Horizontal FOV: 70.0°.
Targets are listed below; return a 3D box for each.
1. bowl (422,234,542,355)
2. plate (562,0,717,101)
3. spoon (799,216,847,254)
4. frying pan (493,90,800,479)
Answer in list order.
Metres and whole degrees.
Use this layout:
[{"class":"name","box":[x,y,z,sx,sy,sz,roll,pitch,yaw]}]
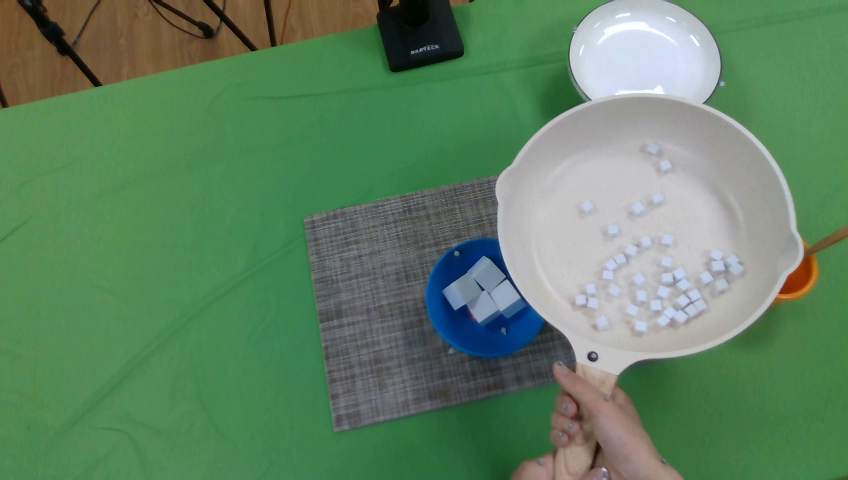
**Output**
[{"class":"bowl","box":[0.073,0.077,0.761,0.151,0.077,0.150,-1,69,2]},{"class":"plate","box":[0.297,-0.251,0.849,0.207,0.039,0.206,-1,71,2]},{"class":"spoon","box":[0.459,0.011,0.735,0.022,0.194,0.041,-6,62,-48]},{"class":"frying pan","box":[0.186,0.069,0.611,0.305,0.103,0.485,16,67,18]}]
